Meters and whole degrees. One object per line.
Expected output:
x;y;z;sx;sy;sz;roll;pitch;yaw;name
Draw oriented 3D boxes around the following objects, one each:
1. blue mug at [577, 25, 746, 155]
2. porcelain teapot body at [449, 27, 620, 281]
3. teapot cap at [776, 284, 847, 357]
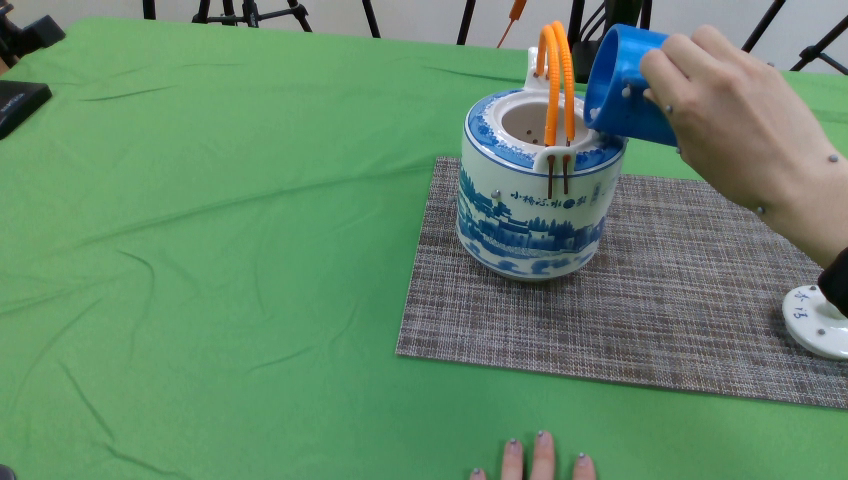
0.185;-0.116;0.471;0.106;0.082;0.116;12;13;-1;blue mug
0.101;-0.099;0.574;0.145;0.227;0.203;1;43;-1;porcelain teapot body
0.361;0.067;0.541;0.085;0.044;0.084;3;42;-2;teapot cap
